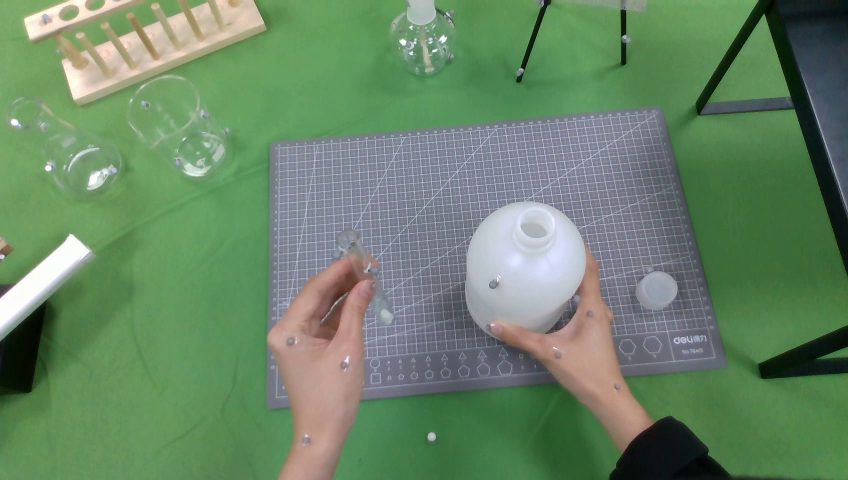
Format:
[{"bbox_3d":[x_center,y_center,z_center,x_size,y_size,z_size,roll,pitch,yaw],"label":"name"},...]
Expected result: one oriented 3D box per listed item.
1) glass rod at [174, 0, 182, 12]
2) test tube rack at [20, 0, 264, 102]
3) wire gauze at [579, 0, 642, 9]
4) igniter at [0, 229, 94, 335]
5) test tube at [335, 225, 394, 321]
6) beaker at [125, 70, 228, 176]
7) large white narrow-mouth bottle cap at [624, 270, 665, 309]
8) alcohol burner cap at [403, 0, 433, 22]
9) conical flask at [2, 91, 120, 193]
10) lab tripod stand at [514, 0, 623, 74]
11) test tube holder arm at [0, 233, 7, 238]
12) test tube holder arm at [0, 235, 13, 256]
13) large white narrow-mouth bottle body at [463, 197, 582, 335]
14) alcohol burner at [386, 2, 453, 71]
[{"bbox_3d":[-0.307,-0.318,0.664,0.008,0.201,0.008,-4,63,8],"label":"glass rod"},{"bbox_3d":[-0.324,-0.258,0.713,0.242,0.086,0.066,-25,70,-7],"label":"test tube rack"},{"bbox_3d":[0.168,-0.289,0.608,0.121,0.011,0.124,15,72,6],"label":"wire gauze"},{"bbox_3d":[-0.430,0.097,0.566,0.057,0.025,0.276,38,72,13],"label":"igniter"},{"bbox_3d":[-0.041,0.031,0.459,0.017,0.151,0.017,-3,62,6],"label":"test tube"},{"bbox_3d":[-0.261,-0.118,0.651,0.074,0.101,0.083,9,70,6],"label":"beaker"},{"bbox_3d":[0.223,0.049,0.609,0.038,0.024,0.037,-1,71,2],"label":"large white narrow-mouth bottle cap"},{"bbox_3d":[-0.008,-0.262,0.649,0.034,0.048,0.033,-1,68,2],"label":"alcohol burner cap"},{"bbox_3d":[-0.386,-0.107,0.639,0.075,0.123,0.075,-1,69,3],"label":"conical flask"},{"bbox_3d":[0.164,-0.262,0.670,0.148,0.132,0.147,0,68,1],"label":"lab tripod stand"},{"bbox_3d":[-0.479,0.060,0.584,0.013,0.015,0.178,38,74,14],"label":"test tube holder arm"},{"bbox_3d":[-0.445,0.031,0.595,0.010,0.015,0.087,39,75,15],"label":"test tube holder arm"},{"bbox_3d":[0.086,0.019,0.533,0.102,0.196,0.101,-1,71,3],"label":"large white narrow-mouth bottle body"},{"bbox_3d":[-0.005,-0.248,0.683,0.078,0.120,0.077,0,67,1],"label":"alcohol burner"}]
